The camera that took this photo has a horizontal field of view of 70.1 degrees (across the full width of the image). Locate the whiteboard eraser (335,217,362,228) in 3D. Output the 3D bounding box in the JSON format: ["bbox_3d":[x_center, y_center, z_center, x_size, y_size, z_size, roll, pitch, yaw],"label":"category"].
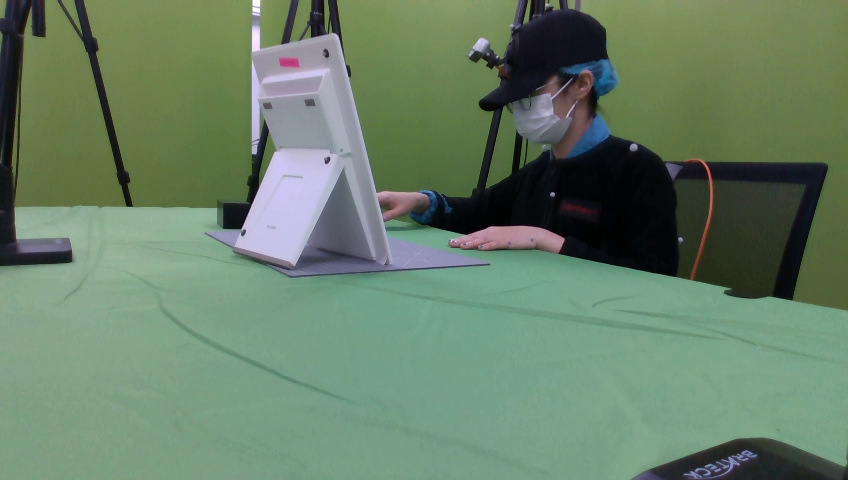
[{"bbox_3d":[-0.159,-0.039,1.277,0.041,0.019,0.101,2,7,6],"label":"whiteboard eraser"}]

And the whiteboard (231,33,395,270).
[{"bbox_3d":[-0.193,-0.094,0.805,0.144,0.305,0.216,-28,25,-35],"label":"whiteboard"}]
